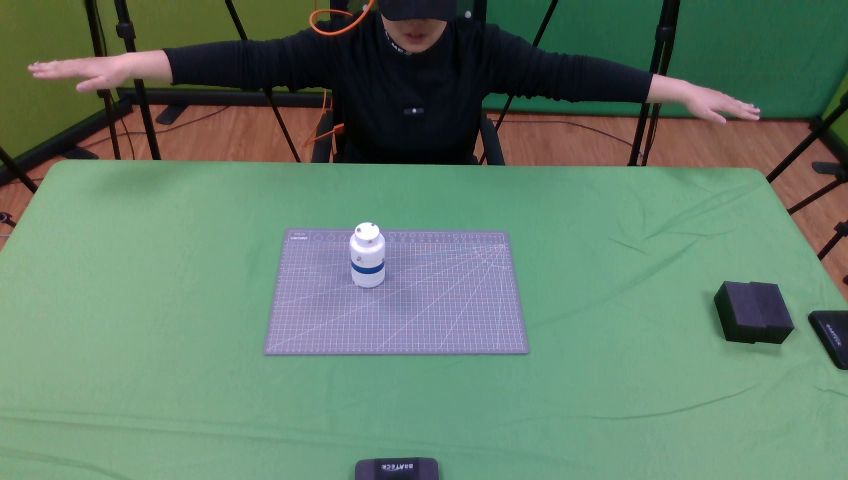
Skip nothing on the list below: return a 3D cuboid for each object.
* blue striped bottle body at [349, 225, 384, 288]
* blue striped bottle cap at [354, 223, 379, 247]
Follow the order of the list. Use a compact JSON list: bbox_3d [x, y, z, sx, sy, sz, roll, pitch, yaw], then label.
[{"bbox_3d":[-0.103,0.026,1.093,0.063,0.121,0.062,2,46,-2],"label":"blue striped bottle body"},{"bbox_3d":[-0.100,-0.009,1.057,0.044,0.021,0.044,2,45,-2],"label":"blue striped bottle cap"}]
